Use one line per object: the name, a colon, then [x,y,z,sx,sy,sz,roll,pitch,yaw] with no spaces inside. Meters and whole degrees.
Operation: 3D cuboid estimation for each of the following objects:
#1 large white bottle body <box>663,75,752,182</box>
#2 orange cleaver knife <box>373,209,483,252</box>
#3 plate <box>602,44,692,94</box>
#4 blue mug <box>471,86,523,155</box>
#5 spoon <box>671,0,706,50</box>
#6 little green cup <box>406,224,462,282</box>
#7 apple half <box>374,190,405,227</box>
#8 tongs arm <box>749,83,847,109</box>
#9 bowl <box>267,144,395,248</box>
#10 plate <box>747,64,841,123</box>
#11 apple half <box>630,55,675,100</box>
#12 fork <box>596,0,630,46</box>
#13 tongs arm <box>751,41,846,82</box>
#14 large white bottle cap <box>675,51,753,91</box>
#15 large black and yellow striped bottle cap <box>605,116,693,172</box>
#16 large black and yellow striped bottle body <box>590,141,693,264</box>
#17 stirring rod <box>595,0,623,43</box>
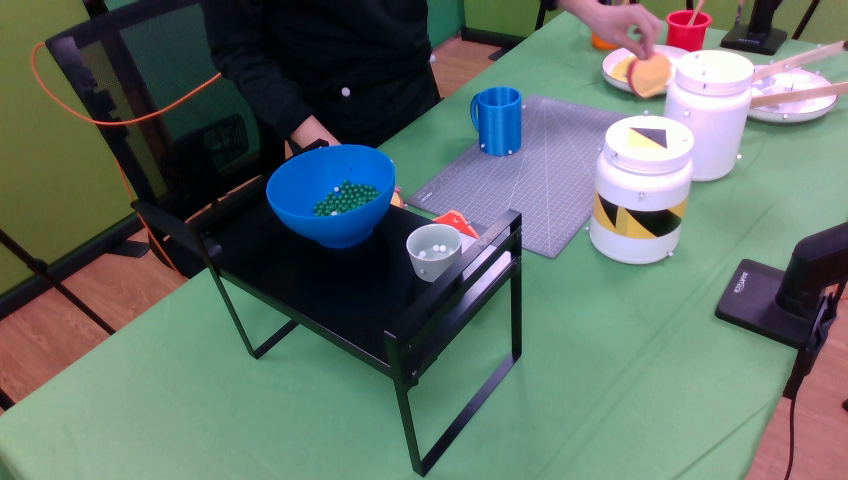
large white bottle body: [0.472,-0.207,1.022,0.130,0.185,0.130,-4,41,4]
orange cleaver knife: [0.002,-0.007,0.940,0.210,0.077,0.012,-5,34,46]
plate: [0.495,-0.367,1.317,0.209,0.038,0.208,-4,40,4]
blue mug: [0.135,-0.235,1.163,0.082,0.106,0.115,-36,48,-28]
spoon: [0.628,-0.520,1.394,0.041,0.022,0.193,30,97,34]
little green cup: [0.013,0.015,0.668,0.061,0.039,0.061,-4,40,4]
apple half: [-0.058,-0.050,1.023,0.033,0.081,0.080,6,25,-44]
tongs arm: [0.734,-0.280,1.133,0.388,0.028,0.028,-9,47,-5]
bowl: [-0.104,-0.043,0.726,0.151,0.077,0.150,-4,40,4]
plate: [0.694,-0.283,1.189,0.207,0.039,0.206,-4,40,4]
apple half: [0.433,-0.315,1.161,0.081,0.075,0.053,-25,31,5]
fork: [0.481,-0.556,1.452,0.028,0.019,0.207,40,103,40]
tongs arm: [0.708,-0.331,1.194,0.386,0.026,0.050,-19,45,-16]
large white bottle cap: [0.463,-0.271,0.967,0.115,0.018,0.114,-4,40,3]
large black and yellow striped bottle cap: [0.309,-0.134,0.833,0.115,0.019,0.114,-5,40,5]
large black and yellow striped bottle body: [0.317,-0.071,0.889,0.131,0.185,0.130,-4,41,4]
stirring rod: [0.460,-0.556,1.459,0.014,0.006,0.176,30,93,24]
